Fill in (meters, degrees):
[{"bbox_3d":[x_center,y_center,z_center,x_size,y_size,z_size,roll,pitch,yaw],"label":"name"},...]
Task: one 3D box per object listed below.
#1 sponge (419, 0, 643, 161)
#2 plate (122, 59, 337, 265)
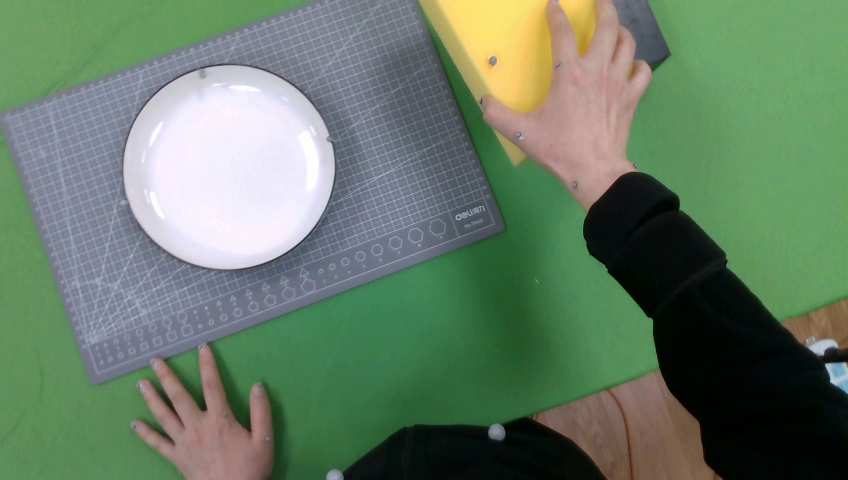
[{"bbox_3d":[0.083,-0.190,0.536,0.118,0.061,0.206,-31,89,-2],"label":"sponge"},{"bbox_3d":[-0.191,-0.076,0.611,0.209,0.038,0.208,0,86,-2],"label":"plate"}]
